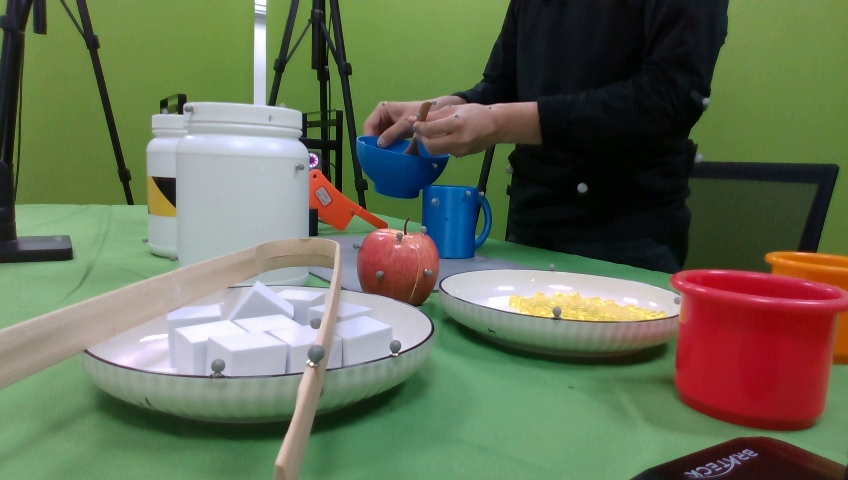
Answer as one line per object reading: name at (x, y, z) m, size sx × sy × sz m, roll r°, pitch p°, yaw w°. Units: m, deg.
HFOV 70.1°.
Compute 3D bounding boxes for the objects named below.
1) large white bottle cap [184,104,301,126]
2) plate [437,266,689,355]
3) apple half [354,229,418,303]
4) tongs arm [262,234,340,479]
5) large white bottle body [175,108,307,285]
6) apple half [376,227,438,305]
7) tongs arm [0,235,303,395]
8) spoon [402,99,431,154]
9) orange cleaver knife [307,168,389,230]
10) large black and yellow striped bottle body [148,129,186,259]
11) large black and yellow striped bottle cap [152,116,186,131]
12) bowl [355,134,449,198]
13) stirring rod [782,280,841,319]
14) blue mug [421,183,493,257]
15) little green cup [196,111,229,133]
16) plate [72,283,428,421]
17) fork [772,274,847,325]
large white bottle cap at (-0.184, -0.126, 0.618) m, size 0.115 × 0.018 × 0.115 m, roll 2°, pitch 8°, yaw 0°
plate at (0.114, 0.057, 0.518) m, size 0.209 × 0.038 × 0.209 m, roll 3°, pitch 7°, yaw 0°
apple half at (-0.044, 0.027, 0.564) m, size 0.081 × 0.081 × 0.033 m, roll 9°, pitch 5°, yaw 42°
tongs arm at (-0.074, 0.039, 0.349) m, size 0.051 × 0.026 × 0.384 m, roll -2°, pitch 10°, yaw -3°
large white bottle body at (-0.188, -0.042, 0.630) m, size 0.131 × 0.184 × 0.130 m, roll 2°, pitch 8°, yaw 0°
apple half at (-0.017, 0.026, 0.593) m, size 0.080 × 0.074 × 0.053 m, roll 4°, pitch 2°, yaw 43°
tongs arm at (-0.157, 0.038, 0.351) m, size 0.028 × 0.028 × 0.388 m, roll -3°, pitch 9°, yaw 12°
spoon at (-0.012, -0.158, 0.899) m, size 0.042 × 0.021 × 0.193 m, roll 4°, pitch -22°, yaw -7°
orange cleaver knife at (-0.158, -0.060, 1.166) m, size 0.212 × 0.077 × 0.012 m, roll 34°, pitch -12°, yaw -32°
large black and yellow striped bottle body at (-0.310, -0.073, 0.838) m, size 0.131 × 0.184 × 0.130 m, roll 2°, pitch 8°, yaw 0°
large black and yellow striped bottle cap at (-0.309, -0.155, 0.826) m, size 0.115 × 0.019 × 0.115 m, roll 3°, pitch 6°, yaw 0°
bowl at (-0.039, -0.115, 0.962) m, size 0.151 × 0.077 × 0.151 m, roll 8°, pitch 18°, yaw -2°
stirring rod at (0.344, 0.019, 0.460) m, size 0.014 × 0.006 × 0.176 m, roll -13°, pitch -27°, yaw -30°
blue mug at (0.052, -0.032, 0.912) m, size 0.117 × 0.106 × 0.082 m, roll -1°, pitch 8°, yaw -24°
little green cup at (-0.403, -0.225, 1.154) m, size 0.061 × 0.038 × 0.061 m, roll 3°, pitch 8°, yaw 0°
plate at (-0.102, 0.066, 0.381) m, size 0.208 × 0.039 × 0.207 m, roll 2°, pitch 7°, yaw 0°
fork at (0.332, 0.018, 0.443) m, size 0.028 × 0.018 × 0.207 m, roll -1°, pitch -36°, yaw -15°
